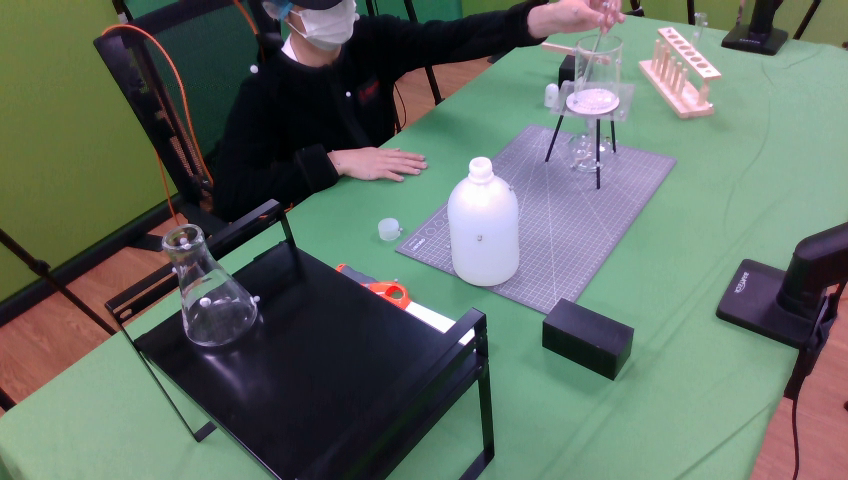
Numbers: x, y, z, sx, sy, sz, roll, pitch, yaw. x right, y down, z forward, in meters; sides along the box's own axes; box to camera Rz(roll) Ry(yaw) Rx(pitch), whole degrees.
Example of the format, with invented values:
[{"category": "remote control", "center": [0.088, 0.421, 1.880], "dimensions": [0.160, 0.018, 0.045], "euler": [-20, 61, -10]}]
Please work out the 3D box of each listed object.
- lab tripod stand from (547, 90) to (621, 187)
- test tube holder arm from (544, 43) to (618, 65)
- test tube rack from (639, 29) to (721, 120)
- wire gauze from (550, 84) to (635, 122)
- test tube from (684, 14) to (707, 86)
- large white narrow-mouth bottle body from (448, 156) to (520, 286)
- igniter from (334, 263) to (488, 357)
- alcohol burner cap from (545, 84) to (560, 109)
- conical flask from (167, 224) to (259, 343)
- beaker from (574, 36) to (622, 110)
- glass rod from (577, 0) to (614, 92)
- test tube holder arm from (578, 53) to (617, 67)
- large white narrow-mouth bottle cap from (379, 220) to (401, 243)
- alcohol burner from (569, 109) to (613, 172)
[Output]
[{"category": "lab tripod stand", "center": [0.289, -0.184, 1.062], "dimensions": [0.148, 0.132, 0.147], "euler": [-6, 41, 6]}, {"category": "test tube holder arm", "center": [0.345, -0.413, 1.341], "dimensions": [0.177, 0.015, 0.013], "euler": [26, 48, 32]}, {"category": "test tube rack", "center": [0.527, -0.351, 1.262], "dimensions": [0.067, 0.085, 0.241], "euler": [-8, 40, 1]}, {"category": "wire gauze", "center": [0.285, -0.234, 1.021], "dimensions": [0.124, 0.011, 0.121], "euler": [8, 41, 24]}, {"category": "test tube", "center": [0.541, -0.379, 1.216], "dimensions": [0.017, 0.151, 0.017], "euler": [-2, 44, 3]}, {"category": "large white narrow-mouth bottle body", "center": [0.086, -0.032, 0.869], "dimensions": [0.102, 0.195, 0.101], "euler": [-4, 40, 4]}, {"category": "igniter", "center": [-0.030, 0.095, 0.872], "dimensions": [0.274, 0.025, 0.057], "euler": [23, 60, 31]}, {"category": "alcohol burner cap", "center": [0.274, -0.307, 1.285], "dimensions": [0.034, 0.048, 0.033], "euler": [-5, 42, 5]}, {"category": "conical flask", "center": [-0.220, 0.041, 0.613], "dimensions": [0.075, 0.122, 0.075], "euler": [-5, 40, 4]}, {"category": "beaker", "center": [0.284, -0.273, 0.990], "dimensions": [0.073, 0.101, 0.084], "euler": [15, 46, 27]}, {"category": "glass rod", "center": [0.275, -0.320, 0.954], "dimensions": [0.008, 0.200, 0.008], "euler": [5, 48, -5]}, {"category": "test tube holder arm", "center": [0.376, -0.394, 1.314], "dimensions": [0.087, 0.015, 0.010], "euler": [26, 49, 32]}, {"category": "large white narrow-mouth bottle cap", "center": [-0.057, -0.015, 1.011], "dimensions": [0.038, 0.024, 0.037], "euler": [-4, 40, 4]}, {"category": "alcohol burner", "center": [0.297, -0.181, 1.073], "dimensions": [0.078, 0.119, 0.077], "euler": [-5, 43, 5]}]
